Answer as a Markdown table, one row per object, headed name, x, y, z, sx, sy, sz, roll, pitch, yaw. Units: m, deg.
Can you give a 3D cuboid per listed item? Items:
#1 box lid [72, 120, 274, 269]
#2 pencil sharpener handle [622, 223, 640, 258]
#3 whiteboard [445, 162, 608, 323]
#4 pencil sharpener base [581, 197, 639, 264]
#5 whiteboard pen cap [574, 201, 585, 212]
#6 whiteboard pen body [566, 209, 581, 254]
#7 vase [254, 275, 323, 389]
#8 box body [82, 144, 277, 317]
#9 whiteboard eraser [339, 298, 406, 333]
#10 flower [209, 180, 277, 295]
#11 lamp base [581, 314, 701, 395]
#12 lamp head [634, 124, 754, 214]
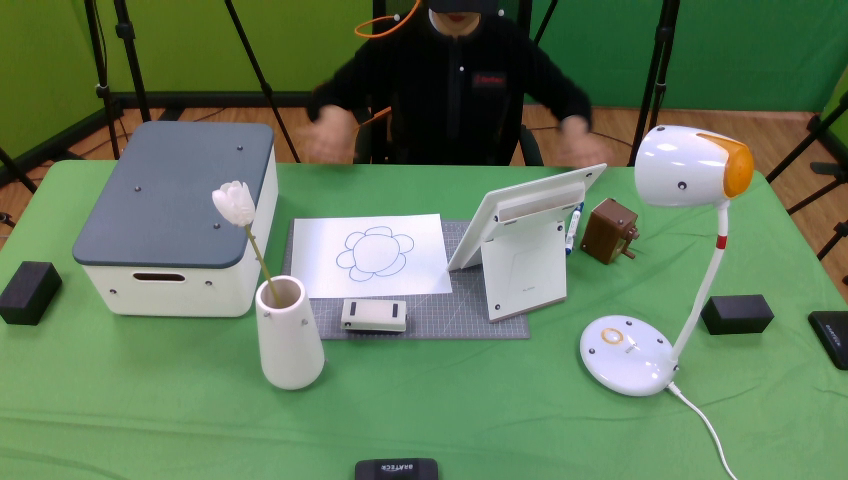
| name | x | y | z | sx | sy | sz | roll | pitch | yaw |
| --- | --- | --- | --- | --- | --- | --- | --- | --- | --- |
| box lid | -0.417 | -0.094 | 1.056 | 0.263 | 0.015 | 0.369 | 1 | 47 | -3 |
| pencil sharpener handle | 0.397 | 0.002 | 1.146 | 0.030 | 0.068 | 0.036 | 37 | 47 | 27 |
| whiteboard | 0.186 | 0.025 | 1.029 | 0.217 | 0.306 | 0.143 | -14 | 68 | -17 |
| pencil sharpener base | 0.362 | -0.017 | 1.179 | 0.076 | 0.107 | 0.061 | 37 | 54 | 27 |
| whiteboard pen cap | 0.327 | -0.069 | 1.278 | 0.018 | 0.018 | 0.033 | 18 | 51 | 13 |
| whiteboard pen body | 0.307 | -0.026 | 1.241 | 0.017 | 0.017 | 0.140 | 16 | 51 | 11 |
| vase | -0.209 | 0.143 | 0.921 | 0.098 | 0.201 | 0.097 | 1 | 46 | -1 |
| box body | -0.421 | -0.041 | 1.108 | 0.254 | 0.161 | 0.361 | 2 | 46 | -3 |
| whiteboard eraser | -0.087 | 0.131 | 1.045 | 0.113 | 0.042 | 0.055 | 3 | 48 | -2 |
| flower | -0.217 | 0.075 | 0.872 | 0.044 | 0.363 | 0.038 | -28 | 36 | -19 |
| lamp base | 0.361 | 0.144 | 0.972 | 0.178 | 0.181 | 0.160 | 34 | 53 | 23 |
| lamp head | 0.351 | -0.089 | 0.775 | 0.112 | 0.113 | 0.122 | -30 | 30 | -28 |
